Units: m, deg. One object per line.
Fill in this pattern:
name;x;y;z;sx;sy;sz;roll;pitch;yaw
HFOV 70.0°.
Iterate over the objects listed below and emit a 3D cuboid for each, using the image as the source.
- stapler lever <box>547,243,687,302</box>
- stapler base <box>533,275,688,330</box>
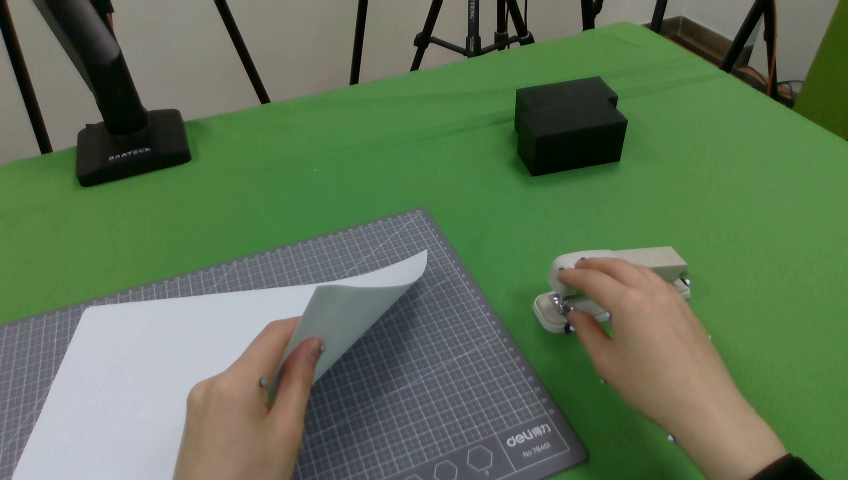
stapler lever;0.155;0.021;0.485;0.118;0.040;0.026;-14;44;-12
stapler base;0.155;0.039;0.500;0.131;0.024;0.041;-13;44;-13
